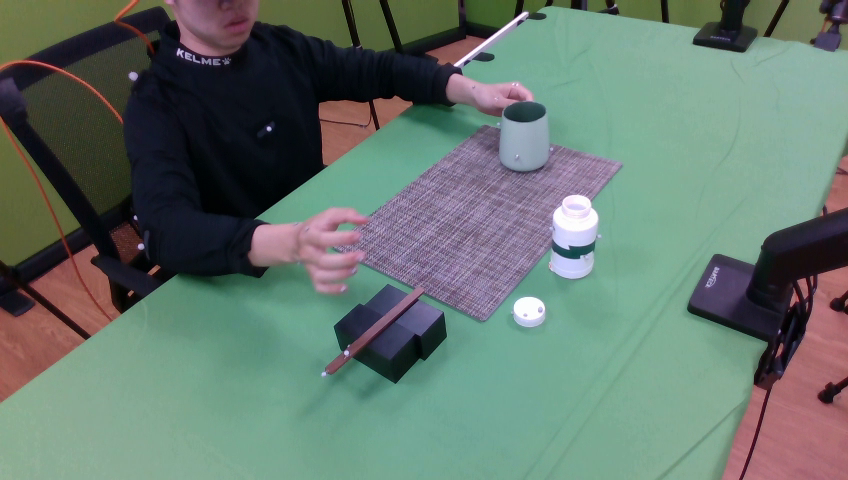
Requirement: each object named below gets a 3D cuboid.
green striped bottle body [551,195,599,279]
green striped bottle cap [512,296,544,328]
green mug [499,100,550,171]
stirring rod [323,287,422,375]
[{"bbox_3d":[0.217,-0.006,0.870,0.063,0.120,0.063,-4,41,4],"label":"green striped bottle body"},{"bbox_3d":[0.144,0.099,0.837,0.044,0.020,0.044,-1,43,2],"label":"green striped bottle cap"},{"bbox_3d":[0.183,-0.197,1.101,0.092,0.105,0.125,-1,41,8],"label":"green mug"},{"bbox_3d":[-0.062,0.114,0.781,0.014,0.006,0.177,23,48,35],"label":"stirring rod"}]
